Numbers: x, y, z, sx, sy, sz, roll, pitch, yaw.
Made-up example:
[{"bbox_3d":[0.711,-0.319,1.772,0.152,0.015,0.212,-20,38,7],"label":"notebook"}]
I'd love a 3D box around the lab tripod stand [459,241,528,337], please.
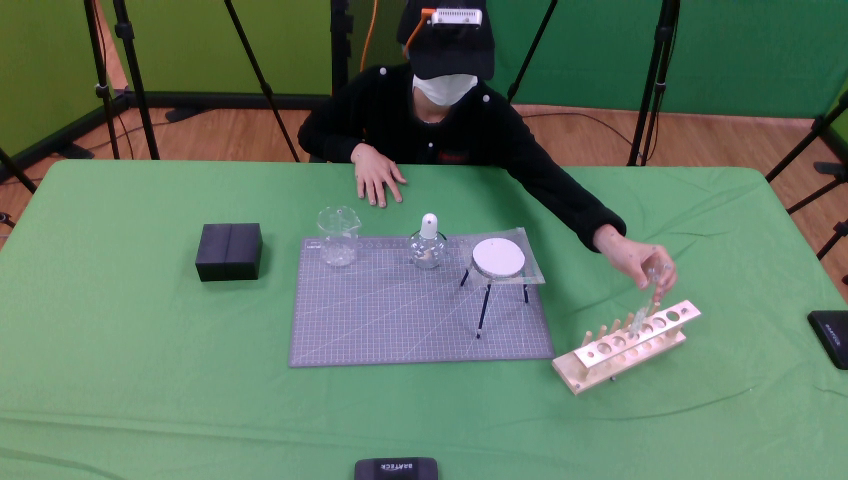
[{"bbox_3d":[0.122,0.075,1.054,0.148,0.132,0.147,3,44,-3],"label":"lab tripod stand"}]

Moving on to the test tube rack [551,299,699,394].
[{"bbox_3d":[0.339,0.166,1.021,0.242,0.085,0.066,-19,50,-21],"label":"test tube rack"}]

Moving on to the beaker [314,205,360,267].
[{"bbox_3d":[-0.160,-0.004,1.132,0.084,0.101,0.073,9,46,3],"label":"beaker"}]

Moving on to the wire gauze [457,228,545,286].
[{"bbox_3d":[0.126,0.029,1.006,0.125,0.011,0.120,-4,46,-10],"label":"wire gauze"}]

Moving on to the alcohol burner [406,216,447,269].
[{"bbox_3d":[0.006,-0.002,1.134,0.078,0.120,0.077,2,48,-2],"label":"alcohol burner"}]

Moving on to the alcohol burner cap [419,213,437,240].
[{"bbox_3d":[0.009,-0.027,1.109,0.034,0.048,0.033,3,44,-3],"label":"alcohol burner cap"}]

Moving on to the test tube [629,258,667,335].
[{"bbox_3d":[0.342,0.090,0.933,0.017,0.151,0.017,4,36,-3],"label":"test tube"}]
